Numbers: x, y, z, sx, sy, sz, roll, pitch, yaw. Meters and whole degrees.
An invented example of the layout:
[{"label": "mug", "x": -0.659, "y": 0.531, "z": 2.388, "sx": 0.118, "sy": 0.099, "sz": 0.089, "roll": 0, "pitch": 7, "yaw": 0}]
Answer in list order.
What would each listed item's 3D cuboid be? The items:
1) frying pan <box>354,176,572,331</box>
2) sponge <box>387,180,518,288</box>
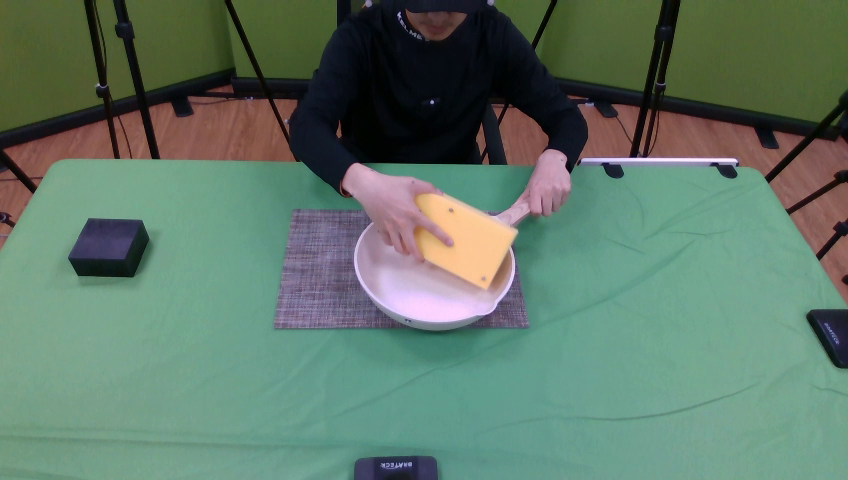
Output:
[{"label": "frying pan", "x": 0.102, "y": -0.001, "z": 1.142, "sx": 0.488, "sy": 0.103, "sz": 0.305, "roll": -31, "pitch": 56, "yaw": -19}, {"label": "sponge", "x": 0.052, "y": -0.013, "z": 1.109, "sx": 0.206, "sy": 0.118, "sz": 0.061, "roll": 26, "pitch": 13, "yaw": 6}]
